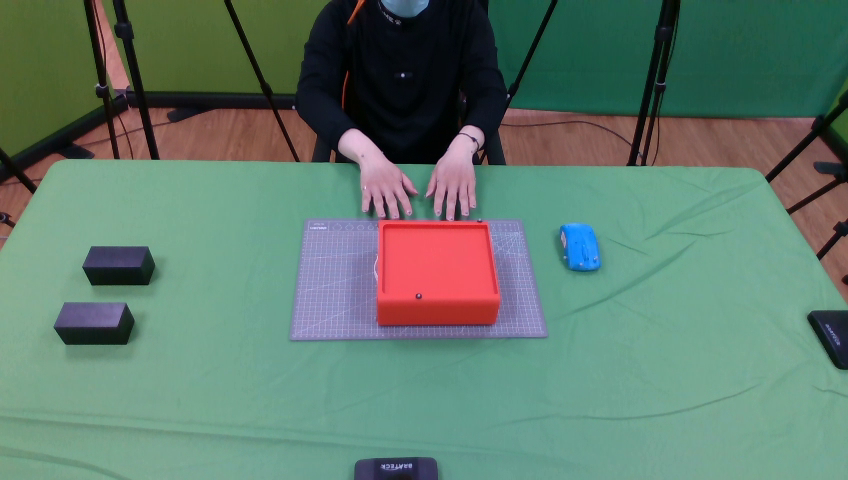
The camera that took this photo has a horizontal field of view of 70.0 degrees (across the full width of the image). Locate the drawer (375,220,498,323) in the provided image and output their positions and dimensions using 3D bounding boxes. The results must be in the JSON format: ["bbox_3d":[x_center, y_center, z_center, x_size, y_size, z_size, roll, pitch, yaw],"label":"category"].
[{"bbox_3d":[0.017,0.054,1.098,0.212,0.073,0.193,1,46,-4],"label":"drawer"}]

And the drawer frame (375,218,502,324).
[{"bbox_3d":[0.020,0.053,1.097,0.214,0.083,0.200,0,46,-4],"label":"drawer frame"}]

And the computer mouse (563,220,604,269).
[{"bbox_3d":[0.315,0.006,1.196,0.063,0.041,0.116,1,51,-5],"label":"computer mouse"}]
